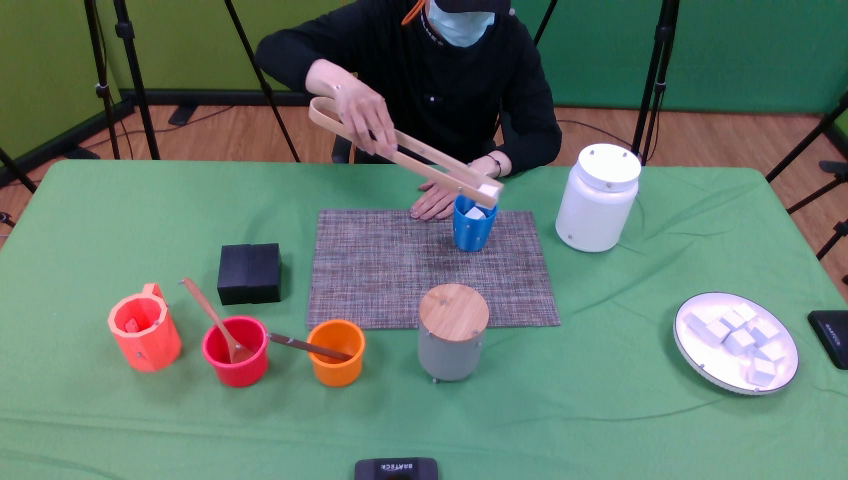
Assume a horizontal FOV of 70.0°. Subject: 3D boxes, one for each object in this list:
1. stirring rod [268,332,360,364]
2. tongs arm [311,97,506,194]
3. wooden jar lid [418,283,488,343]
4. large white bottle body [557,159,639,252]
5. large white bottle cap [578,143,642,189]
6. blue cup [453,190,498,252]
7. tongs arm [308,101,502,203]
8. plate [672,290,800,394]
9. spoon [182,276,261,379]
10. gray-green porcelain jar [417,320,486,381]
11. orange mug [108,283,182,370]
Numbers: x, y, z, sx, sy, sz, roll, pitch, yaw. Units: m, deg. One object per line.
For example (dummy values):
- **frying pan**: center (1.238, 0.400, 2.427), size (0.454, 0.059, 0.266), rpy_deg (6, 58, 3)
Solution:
- **stirring rod**: center (-0.167, 0.169, 0.942), size (0.177, 0.006, 0.014), rpy_deg (26, 28, -41)
- **tongs arm**: center (-0.032, -0.169, 1.095), size (0.384, 0.026, 0.050), rpy_deg (28, 43, 9)
- **wooden jar lid**: center (0.045, 0.114, 0.931), size (0.108, 0.021, 0.107), rpy_deg (2, 49, -2)
- **large white bottle body**: center (0.340, -0.081, 1.185), size (0.131, 0.185, 0.130), rpy_deg (2, 46, -1)
- **large white bottle cap**: center (0.344, -0.139, 1.123), size (0.115, 0.018, 0.114), rpy_deg (2, 46, -2)
- **blue cup**: center (0.093, -0.032, 1.173), size (0.093, 0.101, 0.092), rpy_deg (3, 46, -3)
- **tongs arm**: center (-0.040, -0.156, 1.079), size (0.387, 0.028, 0.028), rpy_deg (25, 46, 6)
- **plate**: center (0.533, 0.178, 1.050), size (0.208, 0.039, 0.206), rpy_deg (2, 46, -2)
- **spoon**: center (-0.321, 0.137, 0.957), size (0.041, 0.021, 0.194), rpy_deg (-36, 102, -32)
- **gray-green porcelain jar**: center (0.042, 0.158, 0.975), size (0.106, 0.127, 0.105), rpy_deg (2, 46, -2)
- **orange mug**: center (-0.445, 0.134, 0.983), size (0.083, 0.101, 0.125), rpy_deg (-1, 50, -5)
